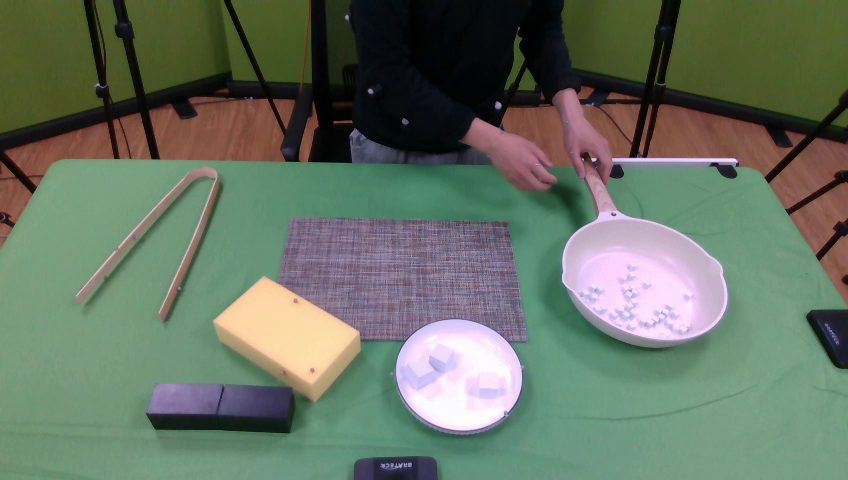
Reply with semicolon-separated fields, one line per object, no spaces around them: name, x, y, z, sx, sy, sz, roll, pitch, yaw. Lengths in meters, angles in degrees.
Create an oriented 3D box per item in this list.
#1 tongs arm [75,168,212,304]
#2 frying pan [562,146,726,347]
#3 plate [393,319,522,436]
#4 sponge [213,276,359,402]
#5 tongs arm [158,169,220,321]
tongs arm;-0.525;-0.021;1.167;0.051;0.026;0.383;13;45;7
frying pan;0.378;-0.005;1.175;0.307;0.103;0.484;-4;55;-10
plate;0.053;0.222;0.978;0.208;0.039;0.206;2;46;-2
sponge;-0.225;0.158;0.998;0.206;0.061;0.118;27;52;18
tongs arm;-0.446;-0.005;1.164;0.028;0.028;0.385;1;46;0
